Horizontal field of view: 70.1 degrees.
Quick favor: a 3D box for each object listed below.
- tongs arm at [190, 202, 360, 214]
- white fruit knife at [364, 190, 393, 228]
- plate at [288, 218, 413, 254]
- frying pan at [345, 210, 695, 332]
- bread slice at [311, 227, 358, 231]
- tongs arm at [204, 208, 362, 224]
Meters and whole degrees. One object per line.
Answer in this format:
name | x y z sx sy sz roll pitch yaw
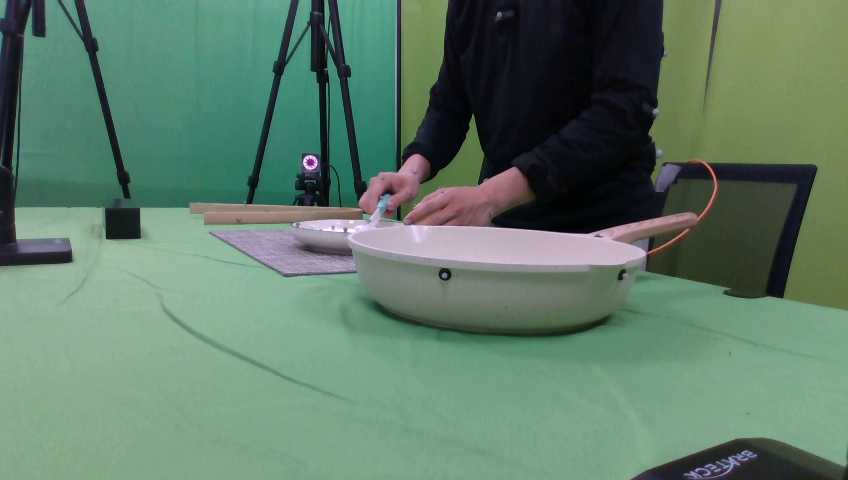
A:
tongs arm | -0.333 -0.068 1.403 0.387 0.026 0.050 0 8 -27
white fruit knife | -0.074 -0.049 0.986 0.016 0.027 0.207 -1 18 7
plate | -0.109 -0.007 0.956 0.208 0.039 0.207 2 7 0
frying pan | 0.153 0.009 0.668 0.490 0.102 0.305 -12 15 -32
bread slice | -0.115 -0.005 0.950 0.134 0.018 0.107 3 6 -7
tongs arm | -0.292 -0.055 1.336 0.390 0.028 0.028 -3 7 -40
